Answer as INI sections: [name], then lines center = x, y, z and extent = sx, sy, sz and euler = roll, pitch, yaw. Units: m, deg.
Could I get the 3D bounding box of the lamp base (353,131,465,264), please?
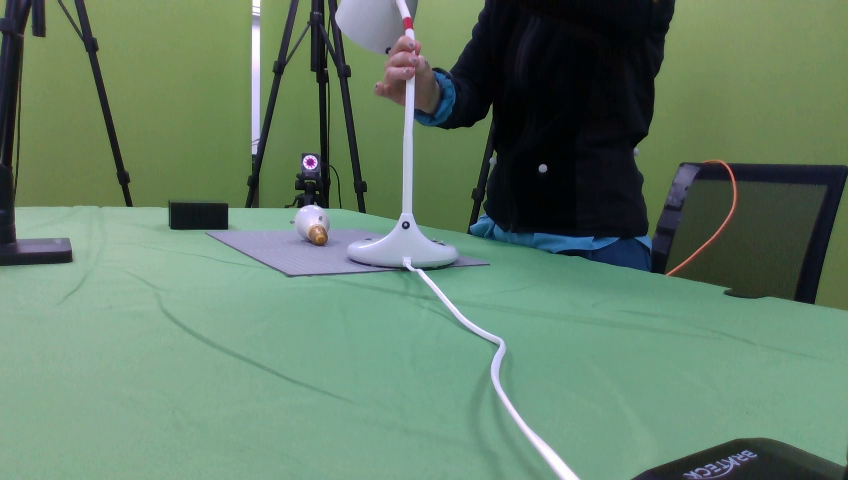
[lamp base]
center = -0.014, -0.062, 0.851
extent = 0.161, 0.180, 0.178
euler = -1, 11, -20
